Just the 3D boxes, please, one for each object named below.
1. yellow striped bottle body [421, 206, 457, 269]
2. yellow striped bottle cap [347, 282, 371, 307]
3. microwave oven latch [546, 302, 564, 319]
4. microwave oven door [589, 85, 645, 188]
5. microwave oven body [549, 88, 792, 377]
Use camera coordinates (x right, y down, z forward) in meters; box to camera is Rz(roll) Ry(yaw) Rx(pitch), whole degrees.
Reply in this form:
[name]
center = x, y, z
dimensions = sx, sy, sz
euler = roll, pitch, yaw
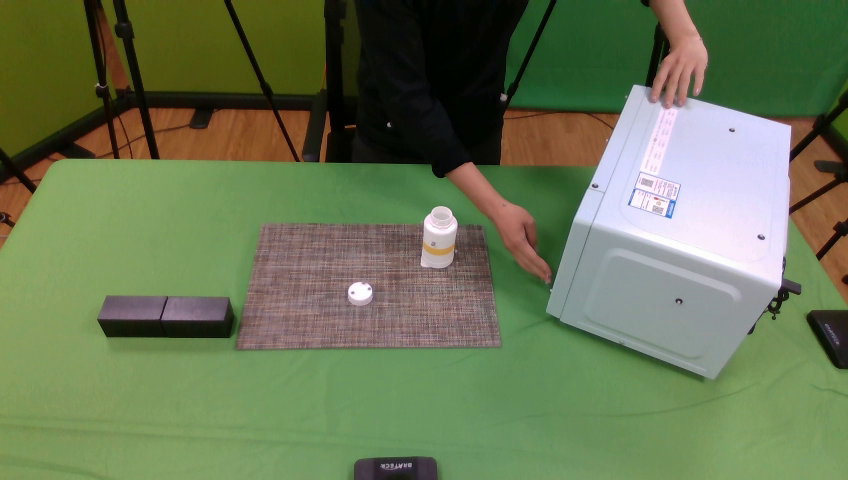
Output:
[yellow striped bottle body]
center = 0.028, -0.008, 1.132
dimensions = 0.063, 0.121, 0.062
euler = 2, 46, -2
[yellow striped bottle cap]
center = -0.117, 0.098, 1.093
dimensions = 0.044, 0.019, 0.044
euler = 4, 46, -3
[microwave oven latch]
center = 0.242, 0.102, 1.081
dimensions = 0.030, 0.029, 0.079
euler = 21, 48, 17
[microwave oven door]
center = 0.341, -0.108, 1.149
dimensions = 0.039, 0.245, 0.354
euler = 20, 48, 15
[microwave oven body]
center = 0.456, -0.028, 1.088
dimensions = 0.325, 0.261, 0.440
euler = 20, 47, 16
